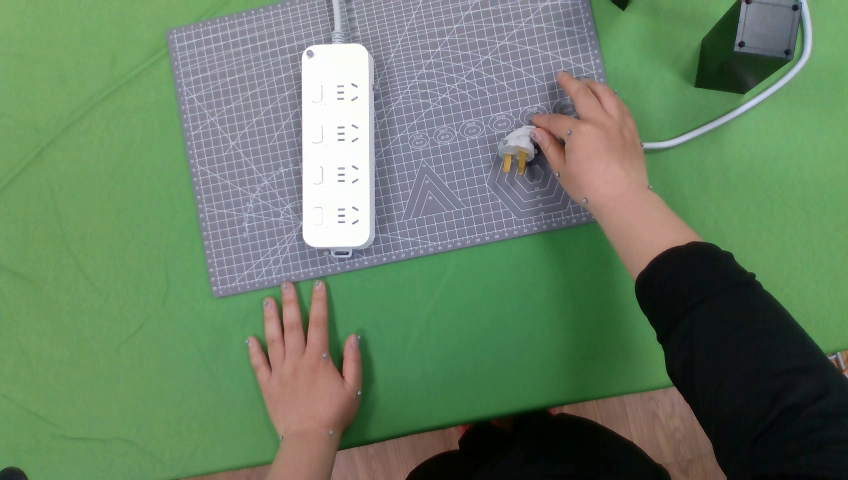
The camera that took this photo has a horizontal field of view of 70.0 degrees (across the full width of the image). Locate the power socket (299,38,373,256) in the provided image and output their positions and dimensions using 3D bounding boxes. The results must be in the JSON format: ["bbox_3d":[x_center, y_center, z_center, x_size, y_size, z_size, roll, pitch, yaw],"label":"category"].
[{"bbox_3d":[-0.091,-0.097,0.627,0.072,0.032,0.226,-1,88,4],"label":"power socket"}]

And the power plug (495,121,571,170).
[{"bbox_3d":[0.107,-0.093,0.603,0.072,0.035,0.052,4,70,17],"label":"power plug"}]
